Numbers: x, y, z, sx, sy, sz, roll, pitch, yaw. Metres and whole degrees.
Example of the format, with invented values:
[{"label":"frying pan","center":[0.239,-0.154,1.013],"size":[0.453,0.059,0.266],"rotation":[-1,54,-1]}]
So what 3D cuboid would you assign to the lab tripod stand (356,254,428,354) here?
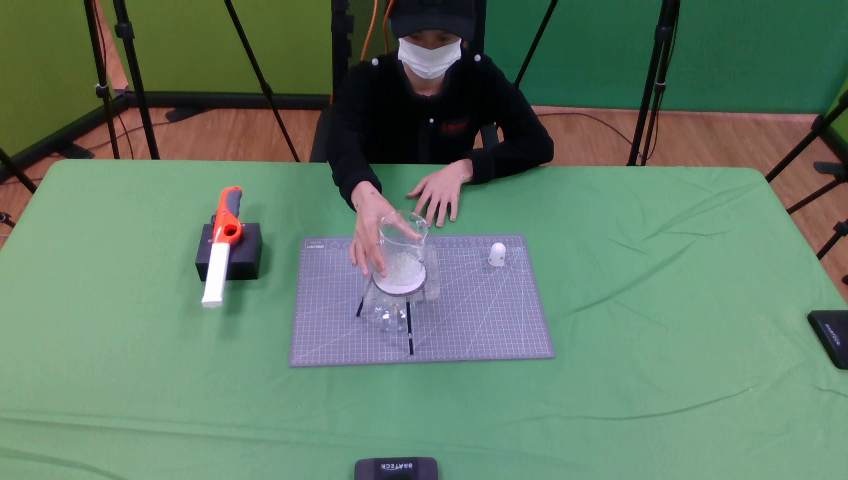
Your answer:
[{"label":"lab tripod stand","center":[-0.046,0.100,1.017],"size":[0.148,0.132,0.147],"rotation":[1,47,-1]}]

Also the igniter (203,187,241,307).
[{"label":"igniter","center":[-0.365,0.003,1.098],"size":[0.057,0.025,0.274],"rotation":[-1,49,-7]}]

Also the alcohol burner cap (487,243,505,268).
[{"label":"alcohol burner cap","center":[0.141,0.027,1.166],"size":[0.034,0.048,0.033],"rotation":[2,45,-2]}]

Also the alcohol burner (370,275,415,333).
[{"label":"alcohol burner","center":[-0.054,0.103,1.026],"size":[0.078,0.120,0.077],"rotation":[1,44,-1]}]

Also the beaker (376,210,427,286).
[{"label":"beaker","center":[-0.034,0.017,0.936],"size":[0.074,0.101,0.083],"rotation":[-28,54,-28]}]

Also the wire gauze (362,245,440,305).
[{"label":"wire gauze","center":[-0.038,0.051,0.971],"size":[0.121,0.011,0.124],"rotation":[0,46,-5]}]
